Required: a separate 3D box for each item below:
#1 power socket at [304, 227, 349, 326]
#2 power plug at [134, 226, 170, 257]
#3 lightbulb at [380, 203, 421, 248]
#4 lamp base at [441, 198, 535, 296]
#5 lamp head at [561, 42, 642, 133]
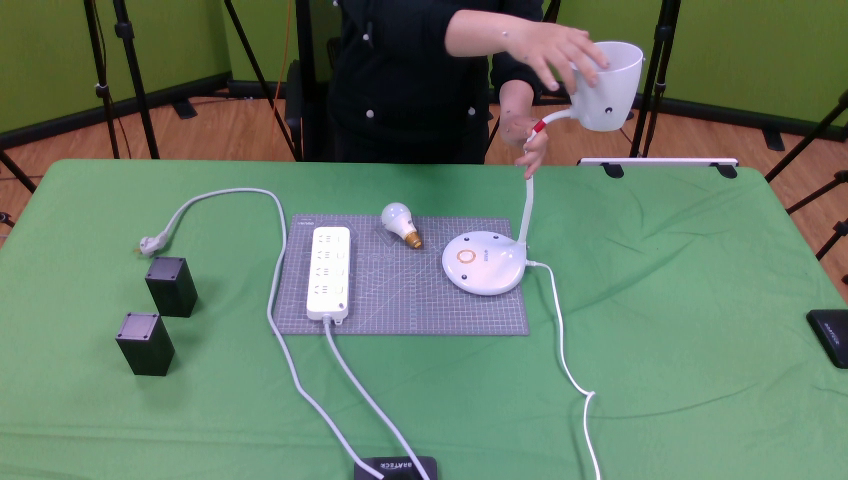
[{"bbox_3d":[-0.177,0.059,1.115,0.072,0.033,0.225,-1,46,-4],"label":"power socket"},{"bbox_3d":[-0.515,0.005,1.153,0.052,0.035,0.072,-6,24,7],"label":"power plug"},{"bbox_3d":[-0.043,-0.026,1.198,0.059,0.060,0.107,-29,70,-28],"label":"lightbulb"},{"bbox_3d":[0.130,-0.012,1.105,0.179,0.181,0.159,-1,46,-9],"label":"lamp base"},{"bbox_3d":[0.267,-0.226,0.926,0.112,0.123,0.112,-3,38,3],"label":"lamp head"}]
